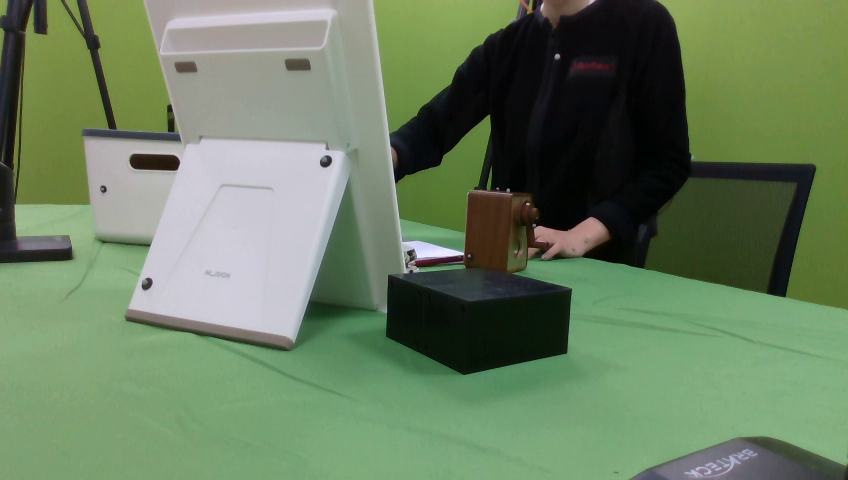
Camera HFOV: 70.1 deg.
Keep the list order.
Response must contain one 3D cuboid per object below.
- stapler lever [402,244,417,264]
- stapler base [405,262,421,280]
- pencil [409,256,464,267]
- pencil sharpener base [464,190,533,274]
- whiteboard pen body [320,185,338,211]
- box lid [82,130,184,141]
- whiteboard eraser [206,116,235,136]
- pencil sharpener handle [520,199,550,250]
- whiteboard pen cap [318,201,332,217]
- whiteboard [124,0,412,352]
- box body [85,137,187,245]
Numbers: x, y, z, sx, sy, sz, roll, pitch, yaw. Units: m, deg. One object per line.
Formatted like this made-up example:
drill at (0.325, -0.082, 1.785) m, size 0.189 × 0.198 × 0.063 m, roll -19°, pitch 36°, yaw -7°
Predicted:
stapler lever at (-0.066, 0.003, 0.754) m, size 0.117 × 0.040 × 0.027 m, roll 9°, pitch 13°, yaw 23°
stapler base at (-0.069, 0.027, 0.759) m, size 0.130 × 0.024 × 0.041 m, roll 9°, pitch 14°, yaw 23°
pencil at (0.042, 0.028, 0.848) m, size 0.012 × 0.012 × 0.195 m, roll 10°, pitch 10°, yaw 43°
pencil sharpener base at (0.102, -0.012, 0.812) m, size 0.076 × 0.107 × 0.061 m, roll 8°, pitch 9°, yaw 36°
whiteboard pen body at (-0.144, -0.063, 0.911) m, size 0.017 × 0.017 × 0.140 m, roll 2°, pitch 17°, yaw -3°
box lid at (-0.337, -0.161, 1.011) m, size 0.263 × 0.015 × 0.372 m, roll 4°, pitch 6°, yaw 11°
whiteboard eraser at (-0.450, -0.252, 1.335) m, size 0.056 × 0.042 × 0.112 m, roll 1°, pitch 7°, yaw -22°
pencil sharpener handle at (0.147, -0.019, 0.785) m, size 0.030 × 0.068 × 0.036 m, roll 8°, pitch 26°, yaw 36°
whiteboard pen cap at (-0.140, -0.044, 0.855) m, size 0.018 × 0.018 × 0.033 m, roll 2°, pitch 16°, yaw -3°
whiteboard at (-0.151, -0.049, 0.472) m, size 0.216 × 0.305 × 0.144 m, roll 6°, pitch 27°, yaw 24°
box body at (-0.340, -0.088, 1.022) m, size 0.254 × 0.160 × 0.364 m, roll 4°, pitch 7°, yaw 11°
